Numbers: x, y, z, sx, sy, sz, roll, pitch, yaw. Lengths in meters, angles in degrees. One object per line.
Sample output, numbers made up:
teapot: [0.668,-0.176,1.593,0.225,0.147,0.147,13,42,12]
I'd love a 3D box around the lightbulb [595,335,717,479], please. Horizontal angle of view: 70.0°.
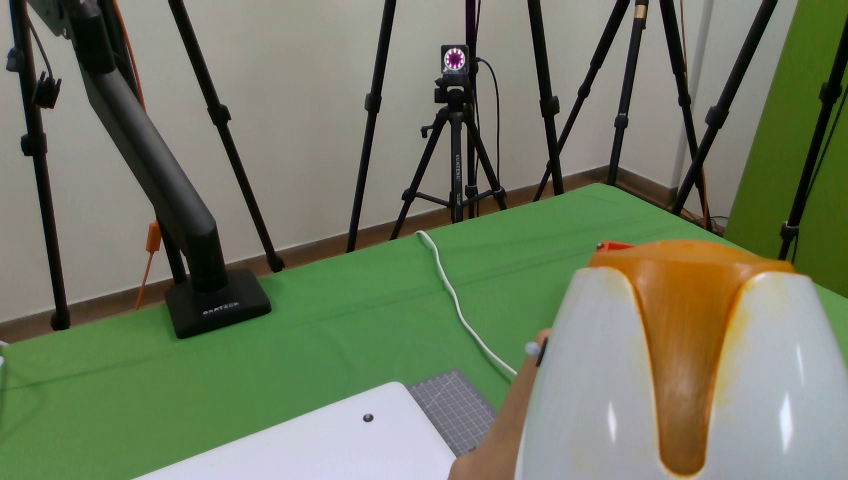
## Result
lightbulb: [0.076,0.085,0.198,0.059,0.107,0.059,3,-5,1]

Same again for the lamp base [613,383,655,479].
lamp base: [0.144,0.200,0.406,0.161,0.181,0.177,-2,27,-2]

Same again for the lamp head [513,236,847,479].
lamp head: [0.083,0.061,0.194,0.112,0.122,0.112,3,-5,1]

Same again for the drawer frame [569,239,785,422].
drawer frame: [0.285,0.091,0.704,0.201,0.083,0.212,8,29,18]

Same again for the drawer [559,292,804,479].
drawer: [0.249,0.145,0.613,0.194,0.074,0.211,7,29,17]

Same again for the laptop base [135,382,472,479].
laptop base: [-0.127,0.250,0.498,0.355,0.023,0.233,-16,35,-25]

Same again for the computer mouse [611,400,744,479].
computer mouse: [0.236,0.185,0.566,0.117,0.041,0.062,9,27,9]

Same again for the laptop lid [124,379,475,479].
laptop lid: [-0.126,0.241,0.491,0.358,0.013,0.239,-15,34,-23]
